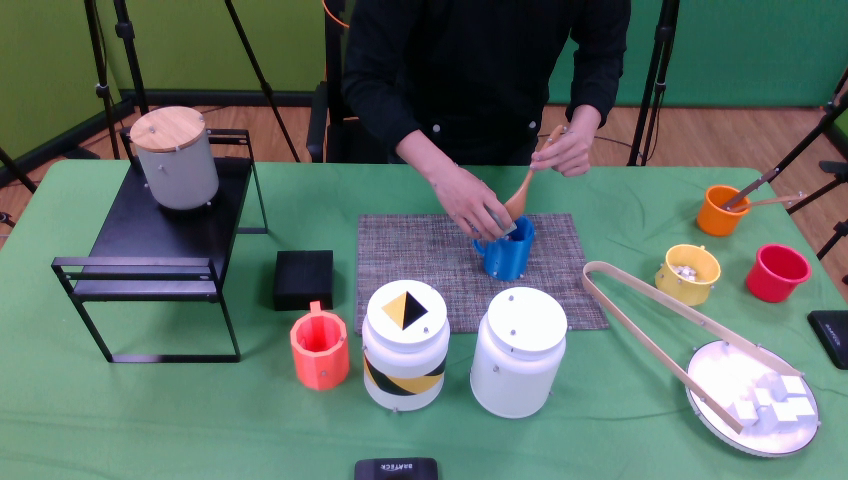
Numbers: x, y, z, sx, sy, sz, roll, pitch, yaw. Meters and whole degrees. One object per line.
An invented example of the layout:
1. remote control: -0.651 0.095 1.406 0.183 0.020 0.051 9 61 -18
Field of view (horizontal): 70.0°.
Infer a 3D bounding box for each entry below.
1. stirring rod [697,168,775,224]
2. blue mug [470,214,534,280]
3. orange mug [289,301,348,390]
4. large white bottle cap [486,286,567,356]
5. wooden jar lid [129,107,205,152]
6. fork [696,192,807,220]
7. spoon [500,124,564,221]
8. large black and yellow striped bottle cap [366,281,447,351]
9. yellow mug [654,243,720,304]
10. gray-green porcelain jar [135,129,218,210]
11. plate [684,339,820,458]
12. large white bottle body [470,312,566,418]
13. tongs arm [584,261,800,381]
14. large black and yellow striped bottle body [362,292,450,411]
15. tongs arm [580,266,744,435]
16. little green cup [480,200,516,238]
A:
1. stirring rod: 0.644 -0.090 1.252 0.176 0.006 0.014 -40 53 16
2. blue mug: 0.141 0.005 1.140 0.116 0.106 0.082 20 48 14
3. orange mug: -0.170 0.162 0.976 0.083 0.101 0.125 -7 52 -11
4. large white bottle cap: 0.147 0.114 0.869 0.115 0.018 0.114 3 46 -3
5. wooden jar lid: -0.385 -0.163 0.915 0.108 0.021 0.107 2 47 -2
6. fork: 0.655 -0.069 1.224 0.207 0.019 0.028 -17 34 45
7. spoon: 0.180 -0.111 1.023 0.042 0.194 0.021 18 22 -21
8. large black and yellow striped bottle cap: -0.025 0.106 0.865 0.115 0.019 0.114 2 46 -1
9. yellow mug: 0.504 0.054 1.154 0.099 0.064 0.130 29 50 22
10. gray-green porcelain jar: -0.388 -0.120 0.960 0.106 0.127 0.105 3 46 -2
11. plate: 0.523 0.256 0.982 0.208 0.039 0.206 2 46 -2
12. large white bottle body: 0.143 0.173 0.930 0.131 0.185 0.130 2 46 -2
13. tongs arm: 0.452 0.137 1.063 0.051 0.027 0.382 -34 50 -27
14. large black and yellow striped bottle body: -0.029 0.163 0.928 0.131 0.185 0.130 2 47 -2
15. tongs arm: 0.384 0.173 1.028 0.028 0.028 0.385 -25 46 -15
16. little green cup: 0.127 -0.035 1.051 0.038 0.062 0.061 -36 49 12
